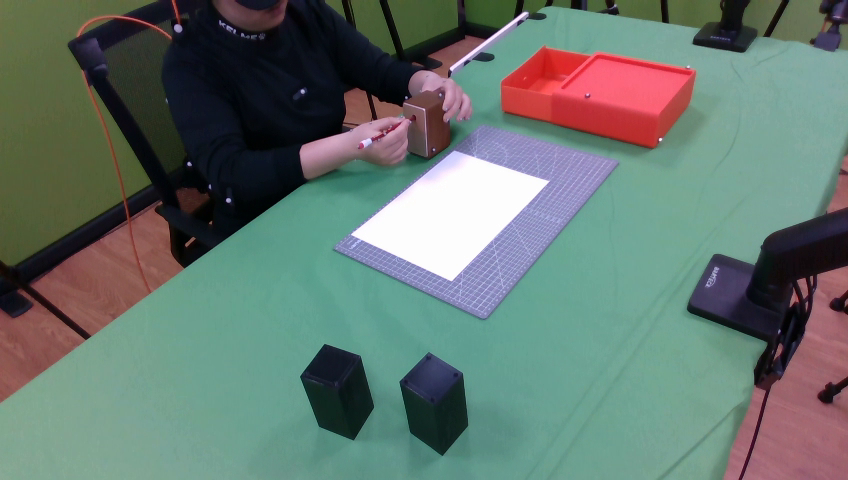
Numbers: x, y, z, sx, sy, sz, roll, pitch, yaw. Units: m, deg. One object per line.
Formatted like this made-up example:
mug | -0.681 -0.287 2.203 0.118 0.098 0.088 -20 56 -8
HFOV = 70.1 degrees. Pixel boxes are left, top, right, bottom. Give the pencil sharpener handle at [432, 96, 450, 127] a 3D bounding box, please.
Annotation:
pencil sharpener handle | 0.039 -0.256 1.186 0.035 0.068 0.031 27 46 30

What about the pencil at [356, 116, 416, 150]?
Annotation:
pencil | -0.051 -0.202 1.094 0.012 0.012 0.195 25 44 33

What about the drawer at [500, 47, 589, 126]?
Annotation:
drawer | 0.295 -0.316 1.255 0.210 0.073 0.195 22 47 29

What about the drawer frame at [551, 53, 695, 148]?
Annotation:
drawer frame | 0.390 -0.281 1.196 0.212 0.083 0.202 22 48 29

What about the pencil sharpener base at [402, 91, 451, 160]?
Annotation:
pencil sharpener base | 0.007 -0.221 1.162 0.061 0.107 0.077 24 44 33
